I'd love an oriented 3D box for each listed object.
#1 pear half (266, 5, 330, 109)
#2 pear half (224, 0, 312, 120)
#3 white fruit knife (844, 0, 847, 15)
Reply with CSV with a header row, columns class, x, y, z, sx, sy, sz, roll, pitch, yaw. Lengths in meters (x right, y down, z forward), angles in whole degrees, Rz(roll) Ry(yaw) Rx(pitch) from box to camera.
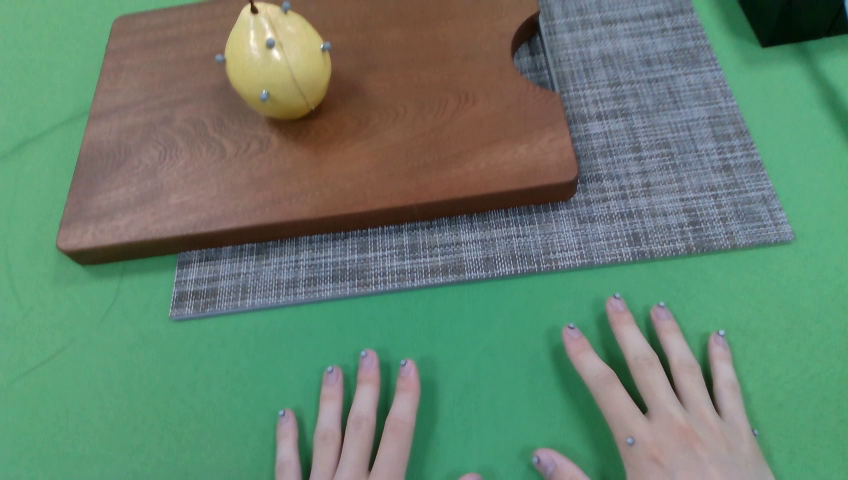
class,x,y,z,sx,sy,sz,roll,pitch,yaw
pear half,-0.092,-0.146,0.469,0.031,0.089,0.069,-21,57,-4
pear half,-0.127,-0.140,0.460,0.056,0.111,0.075,-22,56,-4
white fruit knife,0.329,-0.151,0.449,0.016,0.027,0.206,-5,75,1
